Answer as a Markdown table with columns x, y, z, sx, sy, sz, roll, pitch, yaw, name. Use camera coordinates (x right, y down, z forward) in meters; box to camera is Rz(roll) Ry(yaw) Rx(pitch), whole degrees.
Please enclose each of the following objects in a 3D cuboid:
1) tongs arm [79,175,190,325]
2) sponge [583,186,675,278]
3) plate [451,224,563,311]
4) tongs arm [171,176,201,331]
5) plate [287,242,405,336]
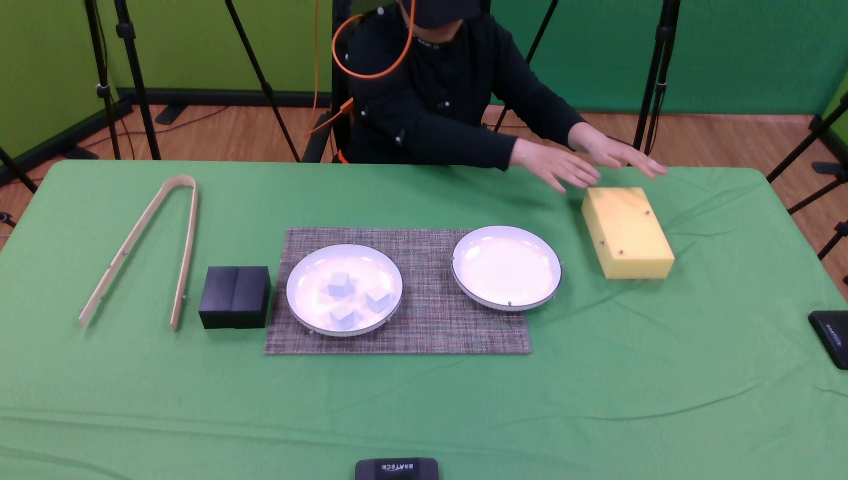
| x | y | z | sx | sy | sz | roll | pitch | yaw | name |
| --- | --- | --- | --- | --- | --- | --- | --- | --- | --- |
| -0.534 | 0.005 | 1.145 | 0.051 | 0.026 | 0.382 | 6 | 45 | 0 | tongs arm |
| 0.404 | -0.020 | 1.215 | 0.118 | 0.061 | 0.205 | -2 | 46 | -4 | sponge |
| 0.154 | 0.053 | 1.140 | 0.209 | 0.038 | 0.208 | 2 | 46 | -2 | plate |
| -0.453 | 0.010 | 1.151 | 0.028 | 0.028 | 0.385 | -6 | 47 | -6 | tongs arm |
| -0.138 | 0.090 | 1.084 | 0.208 | 0.039 | 0.206 | 2 | 46 | -2 | plate |
